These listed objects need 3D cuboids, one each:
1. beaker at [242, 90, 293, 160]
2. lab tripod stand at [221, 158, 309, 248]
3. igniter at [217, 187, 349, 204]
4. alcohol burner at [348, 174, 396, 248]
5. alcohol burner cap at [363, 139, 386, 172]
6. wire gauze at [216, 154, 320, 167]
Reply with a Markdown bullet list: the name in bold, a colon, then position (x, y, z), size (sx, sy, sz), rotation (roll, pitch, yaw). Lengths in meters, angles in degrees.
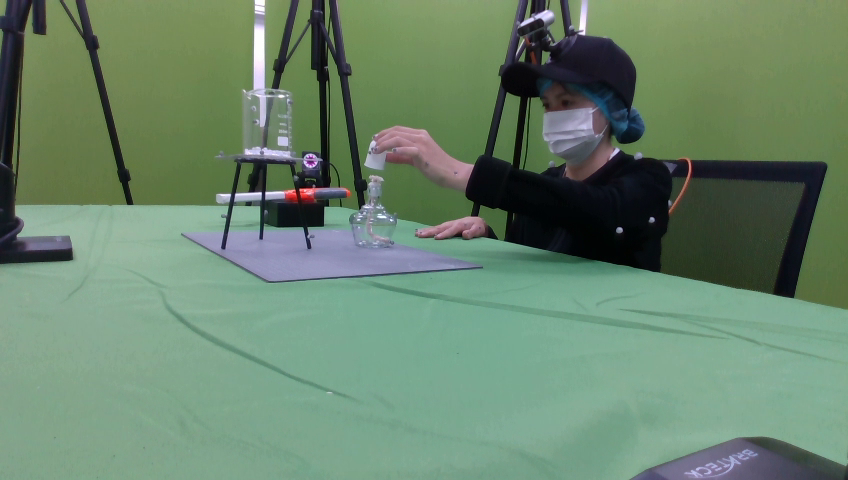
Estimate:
- **beaker**: position (-0.235, -0.169, 0.900), size (0.074, 0.100, 0.084), rotation (4, 7, 23)
- **lab tripod stand**: position (-0.244, -0.057, 0.917), size (0.148, 0.131, 0.148), rotation (1, 7, 0)
- **igniter**: position (-0.285, -0.093, 1.256), size (0.278, 0.025, 0.057), rotation (-6, 12, -34)
- **alcohol burner**: position (-0.083, -0.046, 0.973), size (0.078, 0.119, 0.078), rotation (4, 5, 0)
- **alcohol burner cap**: position (-0.075, -0.134, 0.943), size (0.034, 0.048, 0.034), rotation (13, 16, -4)
- **wire gauze**: position (-0.236, -0.121, 0.906), size (0.126, 0.011, 0.121), rotation (0, 8, -33)
